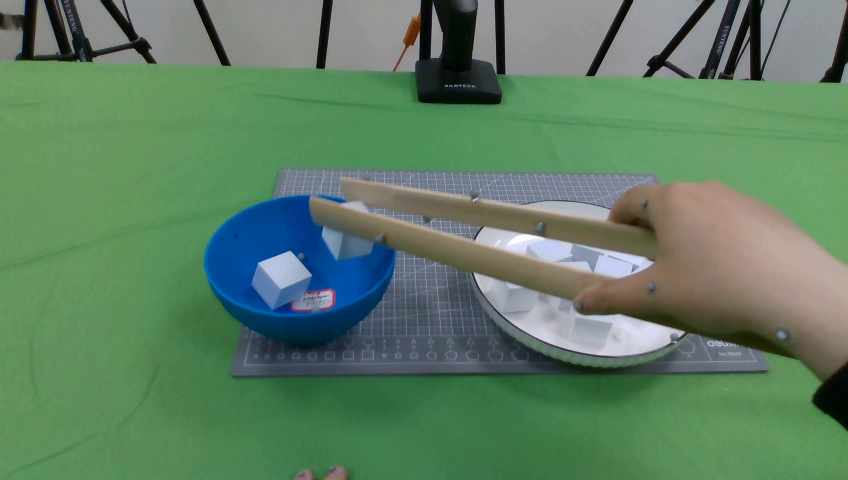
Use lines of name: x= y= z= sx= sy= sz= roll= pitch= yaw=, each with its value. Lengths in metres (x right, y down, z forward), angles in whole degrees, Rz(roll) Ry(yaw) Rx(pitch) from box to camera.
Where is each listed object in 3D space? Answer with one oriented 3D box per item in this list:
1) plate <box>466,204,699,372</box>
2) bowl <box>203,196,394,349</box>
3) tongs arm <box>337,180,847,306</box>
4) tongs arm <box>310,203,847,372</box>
plate: x=0.140 y=0.042 z=0.557 sx=0.208 sy=0.039 sz=0.205 roll=3 pitch=40 yaw=-2
bowl: x=-0.100 y=0.038 z=0.507 sx=0.151 sy=0.077 sz=0.150 roll=3 pitch=40 yaw=-2
tongs arm: x=0.097 y=0.006 z=0.397 sx=0.382 sy=0.027 sz=0.050 roll=10 pitch=39 yaw=23
tongs arm: x=0.085 y=0.021 z=0.380 sx=0.385 sy=0.028 sz=0.028 roll=13 pitch=37 yaw=26
